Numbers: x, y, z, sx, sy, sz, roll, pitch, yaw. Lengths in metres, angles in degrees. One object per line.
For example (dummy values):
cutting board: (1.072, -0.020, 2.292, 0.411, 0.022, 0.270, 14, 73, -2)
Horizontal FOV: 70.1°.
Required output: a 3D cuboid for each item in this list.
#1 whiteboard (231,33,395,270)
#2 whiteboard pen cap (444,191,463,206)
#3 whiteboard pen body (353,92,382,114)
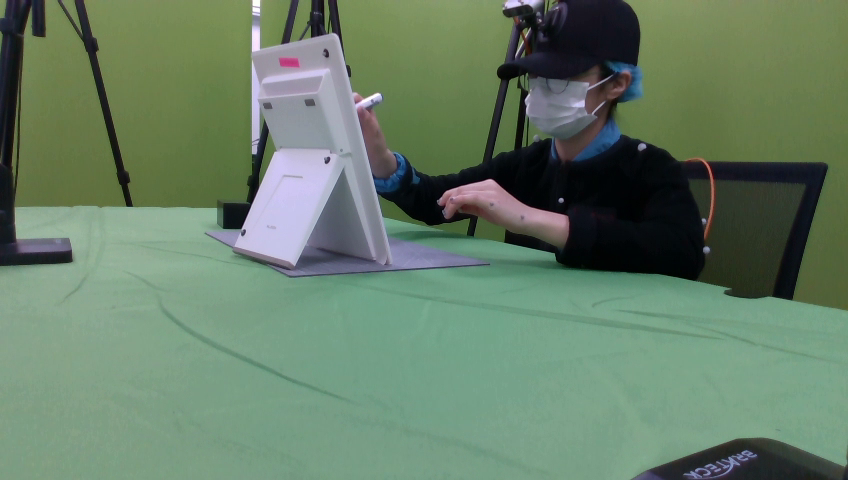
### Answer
whiteboard: (-0.193, -0.094, 0.805, 0.144, 0.305, 0.216, -28, 25, -35)
whiteboard pen cap: (0.043, -0.062, 0.903, 0.017, 0.017, 0.032, -2, 19, -27)
whiteboard pen body: (-0.109, -0.213, 0.981, 0.017, 0.017, 0.141, 6, 31, 29)
